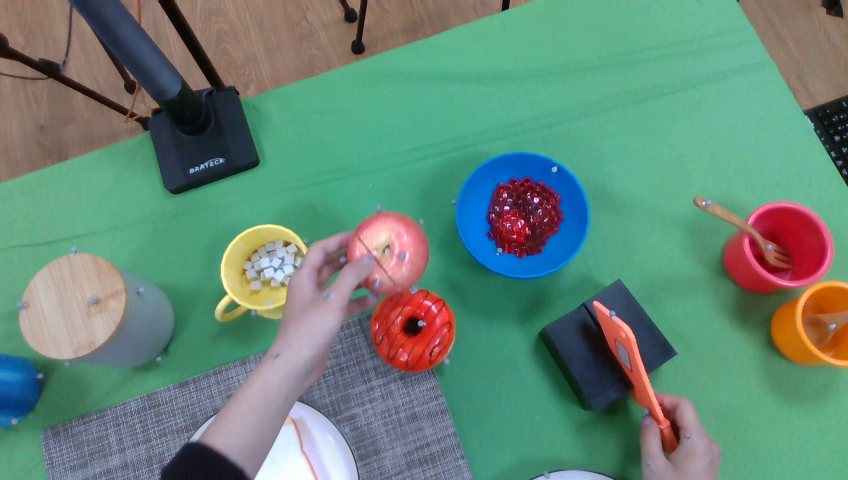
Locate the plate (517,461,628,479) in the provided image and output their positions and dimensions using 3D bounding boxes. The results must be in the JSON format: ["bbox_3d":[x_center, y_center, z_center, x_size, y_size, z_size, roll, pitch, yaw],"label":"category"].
[{"bbox_3d":[0.157,0.338,0.628,0.209,0.038,0.208,-1,75,3],"label":"plate"}]

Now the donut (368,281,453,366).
[{"bbox_3d":[-0.015,0.095,0.694,0.099,0.048,0.098,0,76,1],"label":"donut"}]

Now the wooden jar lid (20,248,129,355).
[{"bbox_3d":[-0.348,0.063,0.610,0.108,0.021,0.107,-1,73,3],"label":"wooden jar lid"}]

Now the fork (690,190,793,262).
[{"bbox_3d":[0.351,-0.014,0.661,0.209,0.018,0.028,23,70,-35],"label":"fork"}]

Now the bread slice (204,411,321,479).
[{"bbox_3d":[-0.161,0.268,0.656,0.107,0.018,0.133,-31,75,-6],"label":"bread slice"}]

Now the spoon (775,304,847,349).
[{"bbox_3d":[0.466,0.063,0.636,0.022,0.194,0.041,-9,66,-48],"label":"spoon"}]

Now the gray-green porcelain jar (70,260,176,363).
[{"bbox_3d":[-0.346,0.080,0.670,0.106,0.127,0.105,0,74,2],"label":"gray-green porcelain jar"}]

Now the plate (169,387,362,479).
[{"bbox_3d":[-0.168,0.266,0.655,0.207,0.039,0.206,0,75,2],"label":"plate"}]

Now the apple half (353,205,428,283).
[{"bbox_3d":[-0.025,-0.003,0.601,0.053,0.075,0.080,-41,76,1],"label":"apple half"}]

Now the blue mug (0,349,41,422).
[{"bbox_3d":[-0.505,0.169,0.661,0.082,0.106,0.116,43,80,13],"label":"blue mug"}]

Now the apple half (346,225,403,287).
[{"bbox_3d":[-0.054,0.023,0.602,0.033,0.081,0.081,-41,76,2],"label":"apple half"}]

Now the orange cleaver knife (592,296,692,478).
[{"bbox_3d":[0.228,0.154,0.640,0.012,0.077,0.212,-28,103,-6],"label":"orange cleaver knife"}]

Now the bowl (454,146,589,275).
[{"bbox_3d":[0.109,-0.025,0.709,0.151,0.077,0.150,0,75,2],"label":"bowl"}]

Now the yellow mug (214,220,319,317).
[{"bbox_3d":[-0.190,0.044,0.706,0.131,0.064,0.099,-43,77,-8],"label":"yellow mug"}]
